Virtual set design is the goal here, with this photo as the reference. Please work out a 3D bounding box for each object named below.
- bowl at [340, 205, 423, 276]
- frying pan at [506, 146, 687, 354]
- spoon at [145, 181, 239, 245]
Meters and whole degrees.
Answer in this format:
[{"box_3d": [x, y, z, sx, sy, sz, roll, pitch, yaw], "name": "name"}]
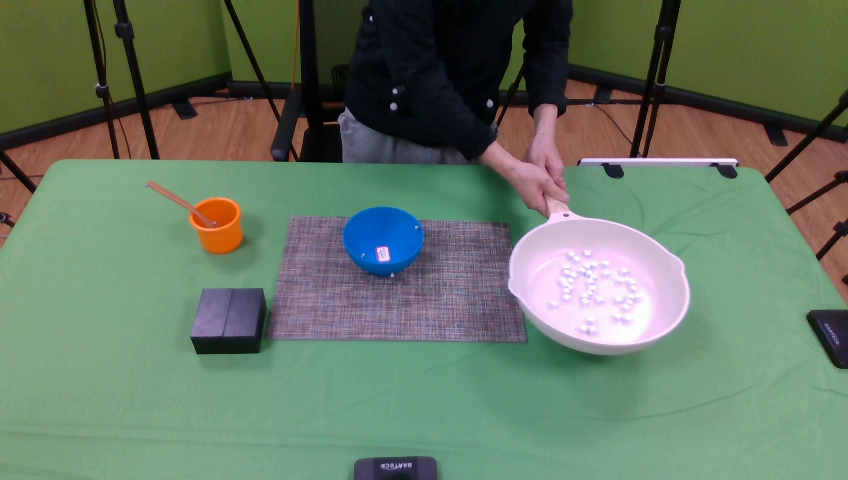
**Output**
[{"box_3d": [-0.079, 0.014, 1.133, 0.151, 0.077, 0.150, 2, 46, -2], "name": "bowl"}, {"box_3d": [0.264, -0.003, 1.089, 0.307, 0.103, 0.484, -7, 52, -9], "name": "frying pan"}, {"box_3d": [-0.429, -0.052, 1.126, 0.021, 0.195, 0.041, -28, 34, 32], "name": "spoon"}]
